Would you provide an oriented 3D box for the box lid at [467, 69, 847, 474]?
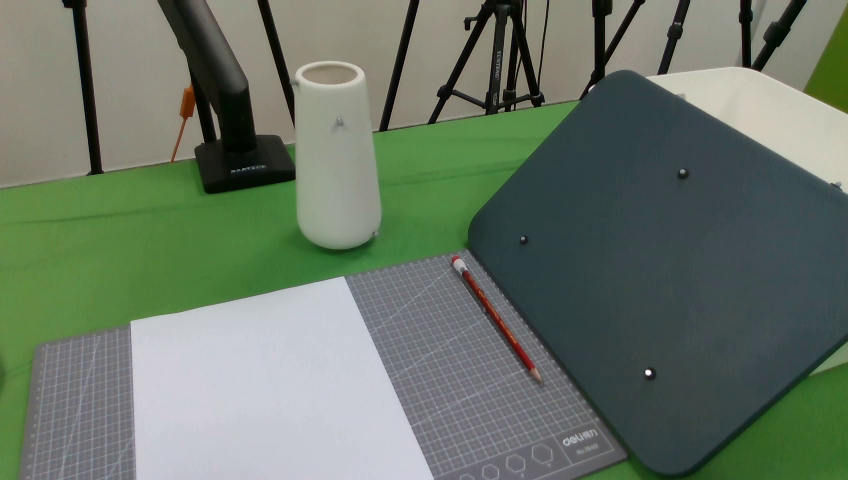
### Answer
[{"bbox_3d":[0.203,0.000,0.573,0.015,0.263,0.367,32,16,-41],"label":"box lid"}]

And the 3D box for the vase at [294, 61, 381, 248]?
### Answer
[{"bbox_3d":[-0.099,-0.090,0.668,0.098,0.201,0.097,1,36,0],"label":"vase"}]

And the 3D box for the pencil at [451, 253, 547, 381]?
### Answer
[{"bbox_3d":[0.072,0.073,0.616,0.012,0.012,0.191,-13,41,-20],"label":"pencil"}]

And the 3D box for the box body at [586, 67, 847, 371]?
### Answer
[{"bbox_3d":[0.362,-0.042,0.667,0.255,0.162,0.359,-12,39,-19],"label":"box body"}]
